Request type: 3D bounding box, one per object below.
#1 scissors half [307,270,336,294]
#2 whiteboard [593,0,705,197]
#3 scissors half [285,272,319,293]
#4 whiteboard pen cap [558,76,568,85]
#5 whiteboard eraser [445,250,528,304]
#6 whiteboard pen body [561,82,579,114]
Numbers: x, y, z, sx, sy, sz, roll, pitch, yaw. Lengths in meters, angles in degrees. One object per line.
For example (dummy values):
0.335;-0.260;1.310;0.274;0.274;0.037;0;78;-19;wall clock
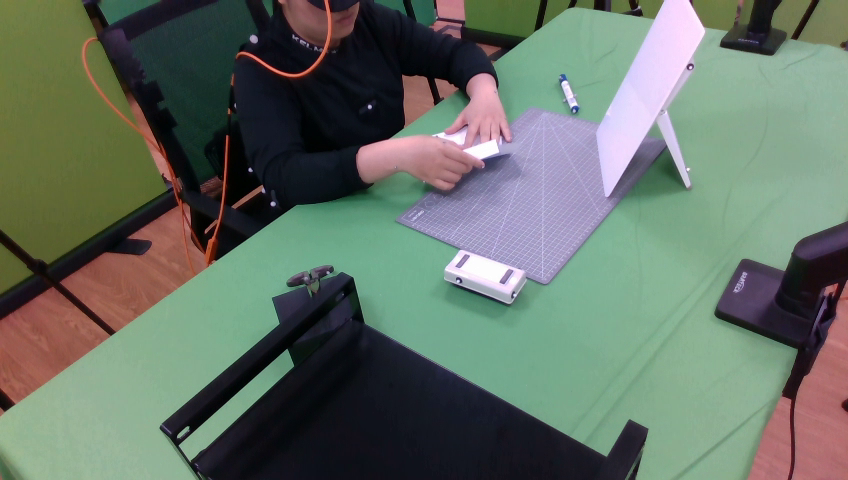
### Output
-0.151;0.061;0.872;0.040;0.013;0.175;-5;6;-4;scissors half
0.421;-0.227;1.009;0.144;0.305;0.216;17;41;-3;whiteboard
-0.171;0.064;0.868;0.040;0.013;0.174;-13;8;-21;scissors half
0.310;-0.350;1.340;0.018;0.018;0.033;-6;41;2;whiteboard pen cap
0.090;0.056;0.882;0.112;0.042;0.056;17;44;27;whiteboard eraser
0.310;-0.311;1.297;0.017;0.017;0.140;-6;41;2;whiteboard pen body
